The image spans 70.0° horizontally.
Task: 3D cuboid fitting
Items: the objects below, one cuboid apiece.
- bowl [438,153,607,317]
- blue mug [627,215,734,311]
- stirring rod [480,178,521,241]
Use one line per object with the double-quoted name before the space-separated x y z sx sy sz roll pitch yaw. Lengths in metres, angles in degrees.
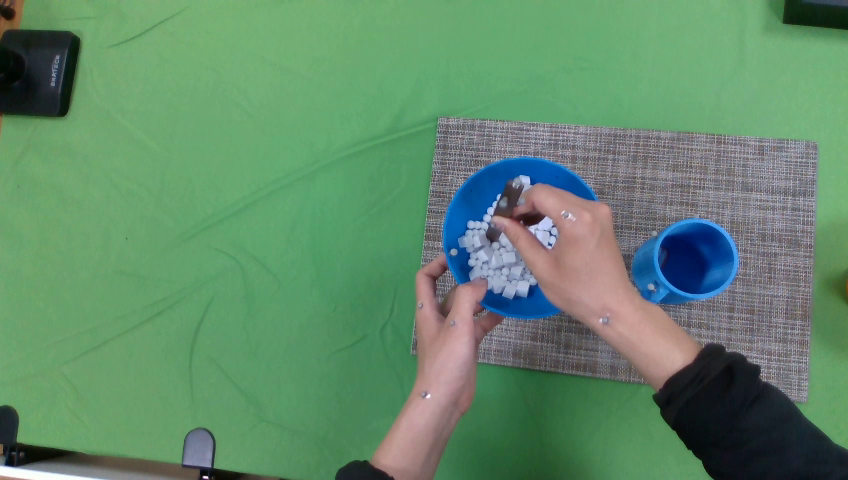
"bowl" 0.090 0.001 0.578 0.151 0.077 0.151 0 80 1
"blue mug" 0.265 0.034 0.659 0.082 0.106 0.116 44 90 11
"stirring rod" 0.062 -0.021 0.510 0.014 0.177 0.006 16 78 4
